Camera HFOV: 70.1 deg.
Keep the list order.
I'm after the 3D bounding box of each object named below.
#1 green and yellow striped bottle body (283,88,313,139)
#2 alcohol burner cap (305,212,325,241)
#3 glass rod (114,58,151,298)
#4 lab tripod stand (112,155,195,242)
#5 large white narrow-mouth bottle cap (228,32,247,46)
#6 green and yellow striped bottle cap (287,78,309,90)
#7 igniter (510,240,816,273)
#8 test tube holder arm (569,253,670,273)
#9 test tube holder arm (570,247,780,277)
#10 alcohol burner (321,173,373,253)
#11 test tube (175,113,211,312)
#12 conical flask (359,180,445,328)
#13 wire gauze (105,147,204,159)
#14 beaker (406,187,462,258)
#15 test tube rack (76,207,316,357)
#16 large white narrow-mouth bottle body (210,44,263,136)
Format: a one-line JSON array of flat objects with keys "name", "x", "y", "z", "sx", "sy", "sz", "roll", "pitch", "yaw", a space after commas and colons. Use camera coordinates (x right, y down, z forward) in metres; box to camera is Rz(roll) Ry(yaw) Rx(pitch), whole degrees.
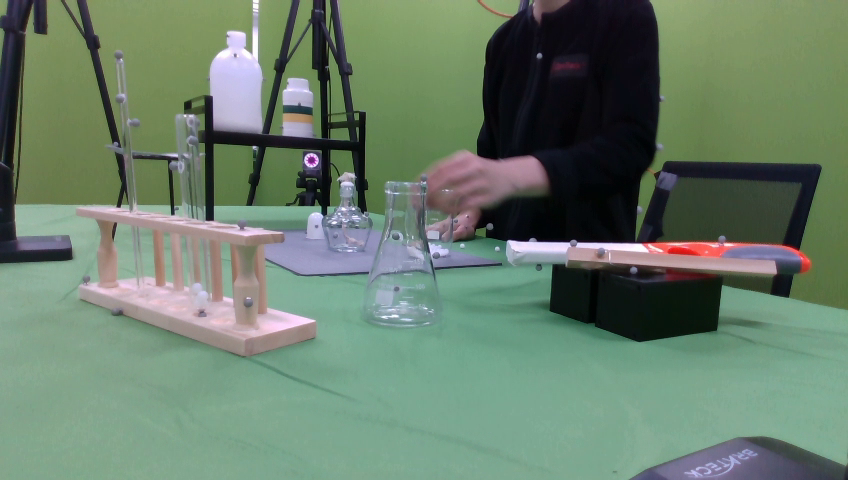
[{"name": "green and yellow striped bottle body", "x": -0.266, "y": -0.275, "z": 1.275, "sx": 0.063, "sy": 0.119, "sz": 0.063, "roll": 2, "pitch": 7, "yaw": 0}, {"name": "alcohol burner cap", "x": -0.185, "y": -0.023, "z": 1.027, "sx": 0.034, "sy": 0.048, "sz": 0.034, "roll": 2, "pitch": 7, "yaw": 0}, {"name": "glass rod", "x": -0.236, "y": -0.044, "z": 0.492, "sx": 0.008, "sy": 0.199, "sz": 0.008, "roll": 0, "pitch": 15, "yaw": 0}, {"name": "lab tripod stand", "x": -0.405, "y": -0.064, "z": 0.931, "sx": 0.148, "sy": 0.131, "sz": 0.148, "roll": 1, "pitch": 6, "yaw": 0}, {"name": "large white narrow-mouth bottle cap", "x": -0.364, "y": -0.391, "z": 1.180, "sx": 0.038, "sy": 0.024, "sz": 0.037, "roll": 3, "pitch": 8, "yaw": 0}, {"name": "green and yellow striped bottle cap", "x": -0.265, "y": -0.326, "z": 1.268, "sx": 0.045, "sy": 0.020, "sz": 0.045, "roll": 4, "pitch": 6, "yaw": 0}, {"name": "igniter", "x": 0.220, "y": 0.015, "z": 0.565, "sx": 0.277, "sy": 0.025, "sz": 0.057, "roll": 2, "pitch": 16, "yaw": 0}, {"name": "test tube holder arm", "x": 0.172, "y": 0.019, "z": 0.532, "sx": 0.088, "sy": 0.015, "sz": 0.010, "roll": 3, "pitch": -23, "yaw": 3}, {"name": "test tube holder arm", "x": 0.217, "y": 0.019, "z": 0.525, "sx": 0.178, "sy": 0.015, "sz": 0.013, "roll": 3, "pitch": -23, "yaw": 3}, {"name": "alcohol burner", "x": -0.115, "y": -0.041, "z": 0.905, "sx": 0.078, "sy": 0.119, "sz": 0.078, "roll": 0, "pitch": 6, "yaw": 0}, {"name": "test tube", "x": -0.175, "y": -0.020, "z": 0.458, "sx": 0.017, "sy": 0.150, "sz": 0.017, "roll": -3, "pitch": 5, "yaw": 1}, {"name": "conical flask", "x": -0.017, "y": 0.010, "z": 0.522, "sx": 0.075, "sy": 0.122, "sz": 0.075, "roll": 2, "pitch": 7, "yaw": 0}, {"name": "wire gauze", "x": -0.408, "y": -0.131, "z": 0.928, "sx": 0.125, "sy": 0.011, "sz": 0.121, "roll": 2, "pitch": 6, "yaw": -11}, {"name": "beaker", "x": 0.013, "y": -0.026, "z": 0.893, "sx": 0.084, "sy": 0.100, "sz": 0.074, "roll": 3, "pitch": 8, "yaw": -2}, {"name": "test tube rack", "x": -0.196, "y": 0.023, "z": 0.500, "sx": 0.241, "sy": 0.085, "sz": 0.067, "roll": 8, "pitch": 9, "yaw": 36}, {"name": "large white narrow-mouth bottle body", "x": -0.369, "y": -0.305, "z": 1.194, "sx": 0.102, "sy": 0.194, "sz": 0.102, "roll": 3, "pitch": 8, "yaw": 0}]
